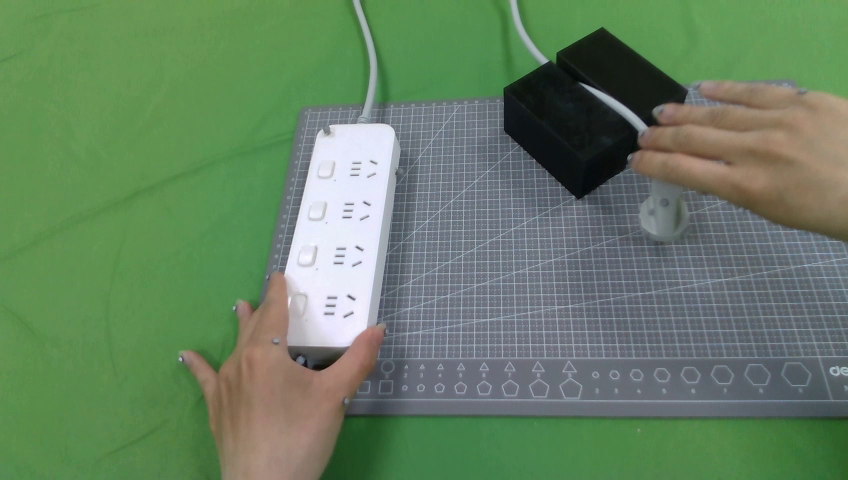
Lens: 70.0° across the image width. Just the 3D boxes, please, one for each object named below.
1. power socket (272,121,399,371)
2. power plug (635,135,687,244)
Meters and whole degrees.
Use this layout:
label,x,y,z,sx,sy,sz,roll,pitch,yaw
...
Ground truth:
label,x,y,z,sx,sy,sz,roll,pitch,yaw
power socket,-0.065,-0.008,0.484,0.072,0.033,0.225,1,58,7
power plug,0.180,-0.034,0.451,0.035,0.053,0.072,13,66,18
